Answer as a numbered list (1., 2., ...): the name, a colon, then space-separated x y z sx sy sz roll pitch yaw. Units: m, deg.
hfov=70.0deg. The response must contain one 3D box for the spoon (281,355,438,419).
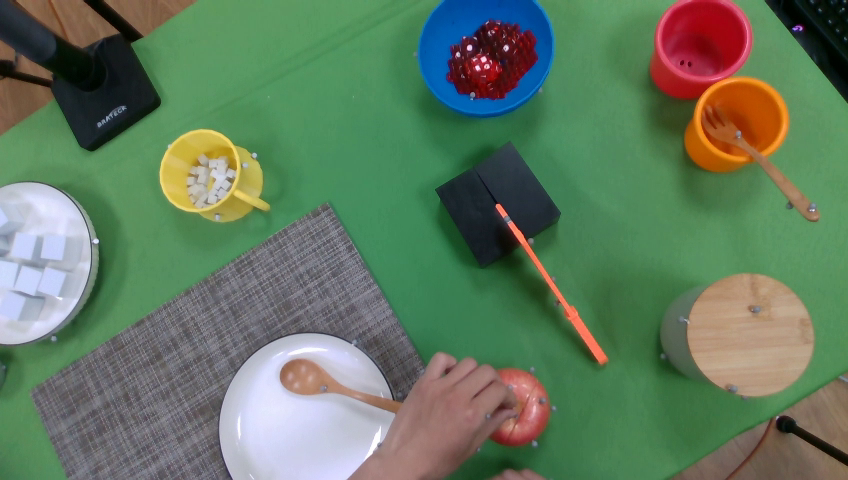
1. spoon: -0.075 0.169 0.674 0.192 0.022 0.041 12 74 22

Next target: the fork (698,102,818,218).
1. fork: 0.330 -0.086 0.607 0.028 0.019 0.205 -15 37 4

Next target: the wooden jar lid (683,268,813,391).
1. wooden jar lid: 0.287 0.080 0.542 0.108 0.021 0.108 -1 85 7

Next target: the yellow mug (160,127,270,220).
1. yellow mug: -0.243 -0.071 0.731 0.130 0.064 0.100 29 87 10

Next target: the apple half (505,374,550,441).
1. apple half: 0.115 0.183 0.645 0.032 0.081 0.081 26 87 12

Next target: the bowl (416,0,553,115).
1. bowl: 0.070 -0.208 0.696 0.151 0.077 0.151 -1 83 8

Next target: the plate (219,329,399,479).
1. plate: -0.129 0.205 0.691 0.209 0.038 0.208 -1 83 8

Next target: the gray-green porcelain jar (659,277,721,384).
1. gray-green porcelain jar: 0.297 0.089 0.603 0.106 0.127 0.105 -1 82 8

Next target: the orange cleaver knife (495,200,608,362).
1. orange cleaver knife: 0.137 0.045 0.649 0.012 0.076 0.213 -34 112 7

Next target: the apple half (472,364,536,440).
1. apple half: 0.080 0.167 0.651 0.053 0.075 0.081 26 91 10

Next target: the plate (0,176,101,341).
1. plate: -0.503 0.024 0.771 0.207 0.039 0.207 -1 83 8

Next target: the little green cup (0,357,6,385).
1. little green cup: -0.563 0.168 0.760 0.061 0.039 0.061 -1 83 6
